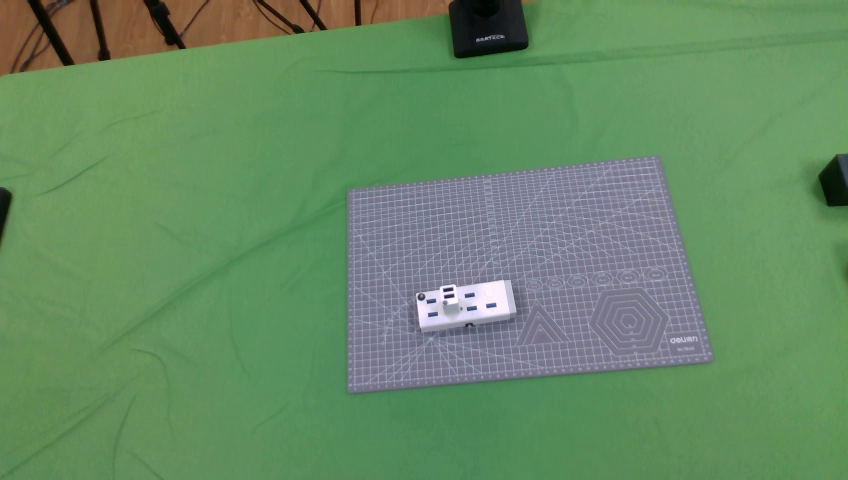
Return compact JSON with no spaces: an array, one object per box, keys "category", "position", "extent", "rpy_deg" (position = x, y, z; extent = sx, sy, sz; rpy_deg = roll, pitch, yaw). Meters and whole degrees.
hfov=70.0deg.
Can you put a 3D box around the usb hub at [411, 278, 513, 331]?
[{"category":"usb hub","position":[0.048,0.082,0.779],"extent":[0.125,0.025,0.049],"rpy_deg":[-9,63,1]}]

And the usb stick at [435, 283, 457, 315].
[{"category":"usb stick","position":[0.028,0.076,0.752],"extent":[0.021,0.059,0.027],"rpy_deg":[-13,62,2]}]
